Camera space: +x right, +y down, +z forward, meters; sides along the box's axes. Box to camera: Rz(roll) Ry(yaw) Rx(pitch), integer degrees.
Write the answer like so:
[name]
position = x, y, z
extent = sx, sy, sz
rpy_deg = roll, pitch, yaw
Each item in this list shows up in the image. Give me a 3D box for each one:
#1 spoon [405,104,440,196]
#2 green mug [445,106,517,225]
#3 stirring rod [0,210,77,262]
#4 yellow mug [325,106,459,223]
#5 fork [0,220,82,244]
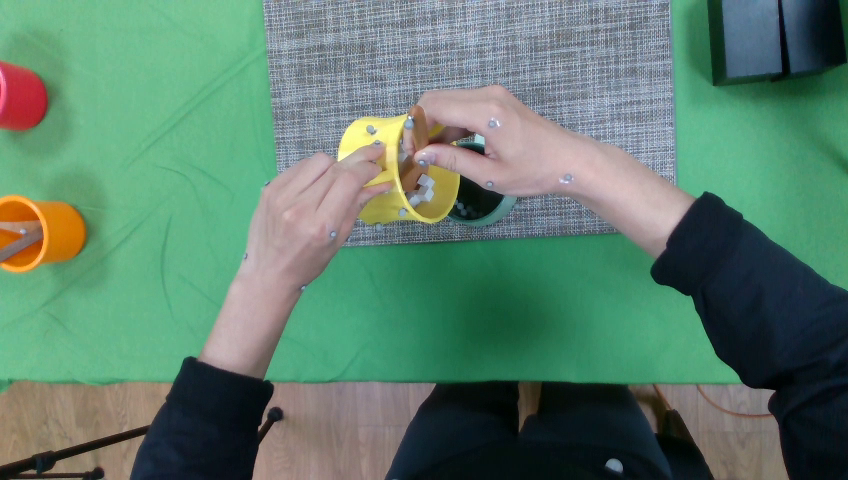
[spoon]
position = 0.001, -0.070, 0.478
extent = 0.021, 0.194, 0.041
rpy_deg = 30, 84, 4
[green mug]
position = 0.054, -0.077, 0.633
extent = 0.092, 0.105, 0.125
rpy_deg = 14, 97, 9
[stirring rod]
position = -0.500, 0.015, 0.724
extent = 0.014, 0.006, 0.176
rpy_deg = 48, 59, 2
[yellow mug]
position = -0.031, -0.061, 0.529
extent = 0.063, 0.131, 0.100
rpy_deg = 0, 106, 36
[fork]
position = -0.525, -0.020, 0.720
extent = 0.209, 0.018, 0.028
rpy_deg = 10, 95, -35
